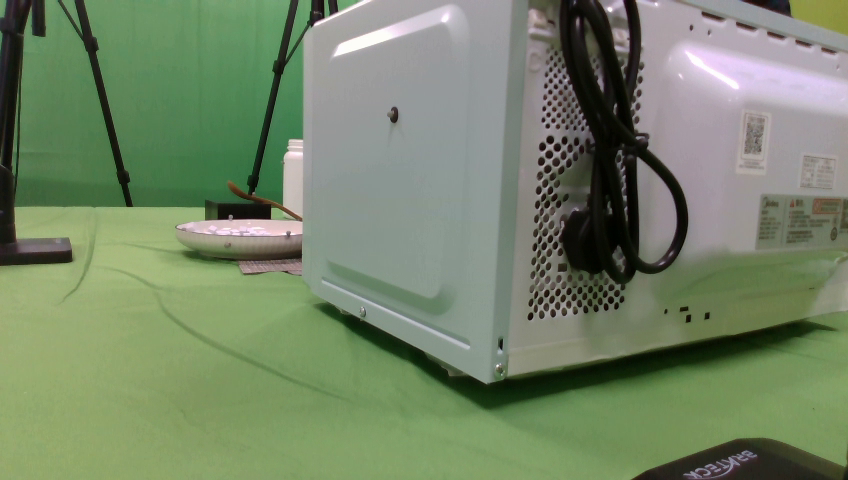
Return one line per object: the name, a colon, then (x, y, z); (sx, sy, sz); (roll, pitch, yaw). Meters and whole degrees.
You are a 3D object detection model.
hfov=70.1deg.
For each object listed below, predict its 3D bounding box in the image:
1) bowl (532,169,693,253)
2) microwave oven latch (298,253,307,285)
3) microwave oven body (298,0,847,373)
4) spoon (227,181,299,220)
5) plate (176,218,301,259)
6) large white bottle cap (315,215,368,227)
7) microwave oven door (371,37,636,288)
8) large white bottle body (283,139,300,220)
bowl: (0.181, -0.030, 0.596); (0.151, 0.077, 0.151); (1, 6, 0)
microwave oven latch: (-0.081, 0.027, 0.582); (0.079, 0.029, 0.030); (-1, 7, -32)
microwave oven body: (0.151, -0.055, 0.543); (0.444, 0.260, 0.324); (-2, 7, -33)
spoon: (-0.315, -0.074, 1.235); (0.195, 0.021, 0.041); (24, -10, -37)
plate: (-0.248, -0.003, 0.877); (0.209, 0.038, 0.209); (1, 8, 0)
large white bottle cap: (-0.177, -0.041, 1.309); (0.115, 0.018, 0.115); (2, 6, 0)
microwave oven door: (0.109, -0.080, 0.686); (0.358, 0.243, 0.039); (-2, 9, -33)
large white bottle body: (-0.265, -0.143, 1.424); (0.131, 0.184, 0.130); (2, 7, 0)
